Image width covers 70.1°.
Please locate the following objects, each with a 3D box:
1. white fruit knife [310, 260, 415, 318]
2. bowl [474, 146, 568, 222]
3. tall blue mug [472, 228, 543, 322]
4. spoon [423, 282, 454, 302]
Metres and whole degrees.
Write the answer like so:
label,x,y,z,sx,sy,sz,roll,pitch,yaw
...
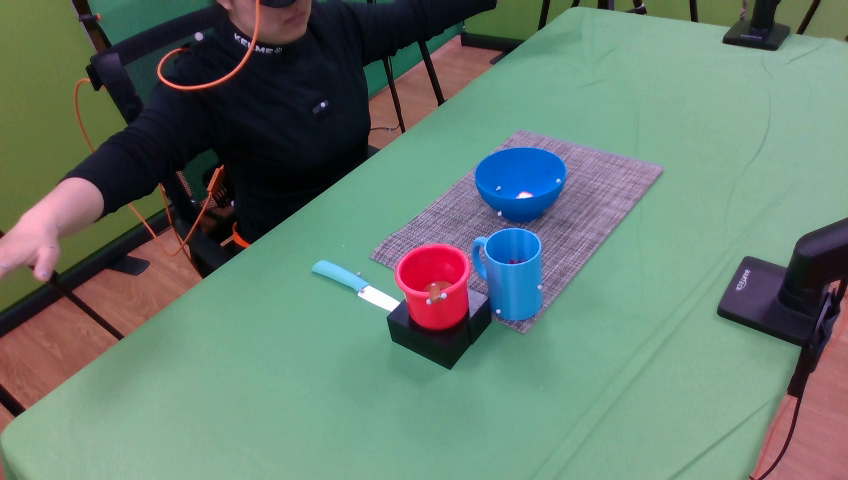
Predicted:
label,x,y,z,sx,sy,sz,roll,pitch,yaw
white fruit knife,-0.094,0.074,0.920,0.206,0.016,0.027,24,77,31
bowl,0.161,-0.083,1.001,0.151,0.077,0.150,-5,40,5
tall blue mug,0.110,0.046,0.832,0.107,0.108,0.077,6,43,18
spoon,0.015,0.062,0.733,0.041,0.021,0.194,-5,-4,3
